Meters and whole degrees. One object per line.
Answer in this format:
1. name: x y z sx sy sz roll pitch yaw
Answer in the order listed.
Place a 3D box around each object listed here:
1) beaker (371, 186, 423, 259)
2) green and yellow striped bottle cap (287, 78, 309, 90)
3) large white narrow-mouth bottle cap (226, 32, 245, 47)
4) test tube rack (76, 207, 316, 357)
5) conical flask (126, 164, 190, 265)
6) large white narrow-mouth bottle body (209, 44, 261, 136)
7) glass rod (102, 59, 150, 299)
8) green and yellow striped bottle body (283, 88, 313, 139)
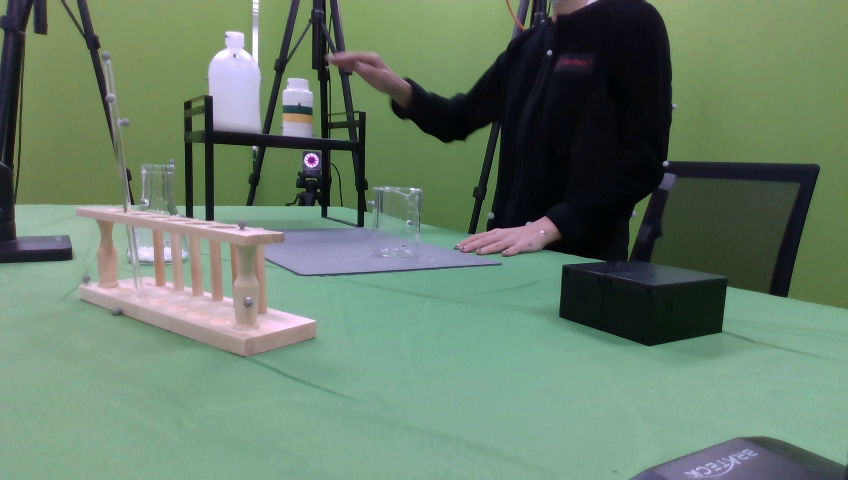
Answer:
1. beaker: -0.038 -0.026 0.869 0.074 0.100 0.083 -1 8 -22
2. green and yellow striped bottle cap: -0.265 -0.326 1.268 0.045 0.020 0.045 4 6 0
3. large white narrow-mouth bottle cap: -0.368 -0.391 1.184 0.038 0.024 0.037 3 8 0
4. test tube rack: -0.196 0.023 0.500 0.241 0.085 0.067 8 9 36
5. conical flask: -0.332 -0.033 0.756 0.075 0.122 0.075 2 7 0
6. large white narrow-mouth bottle body: -0.373 -0.306 1.197 0.102 0.194 0.102 3 8 0
7. glass rod: -0.243 -0.045 0.496 0.008 0.199 0.008 -4 13 1
8. green and yellow striped bottle body: -0.266 -0.275 1.275 0.063 0.119 0.063 3 7 0
